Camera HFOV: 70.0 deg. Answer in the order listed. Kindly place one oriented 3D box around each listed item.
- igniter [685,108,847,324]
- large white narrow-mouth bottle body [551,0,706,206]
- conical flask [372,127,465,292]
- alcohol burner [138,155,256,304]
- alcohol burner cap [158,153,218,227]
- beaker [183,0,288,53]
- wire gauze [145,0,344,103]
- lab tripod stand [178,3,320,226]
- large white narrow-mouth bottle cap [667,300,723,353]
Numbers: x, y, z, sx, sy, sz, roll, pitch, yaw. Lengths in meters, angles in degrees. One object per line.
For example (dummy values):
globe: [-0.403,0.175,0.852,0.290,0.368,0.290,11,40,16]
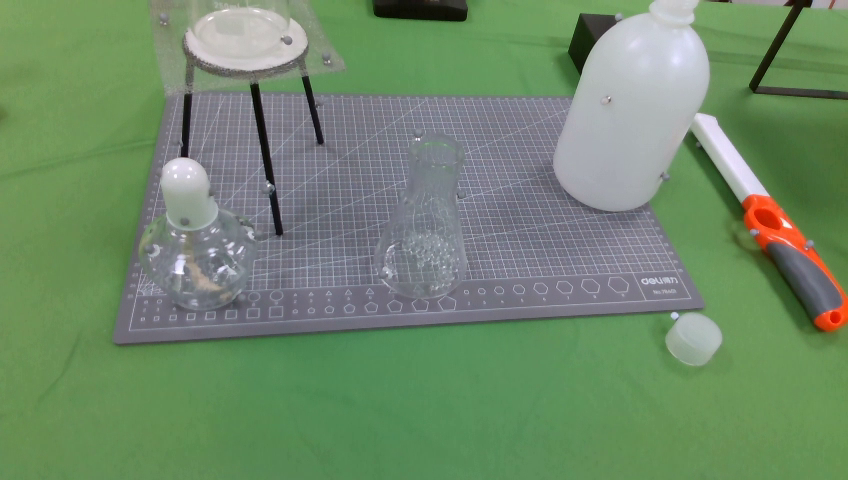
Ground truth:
igniter: [0.315,-0.036,0.574,0.057,0.025,0.273,6,47,-18]
large white narrow-mouth bottle body: [0.179,-0.128,0.518,0.102,0.196,0.101,4,48,-4]
conical flask: [0.001,-0.024,0.444,0.075,0.123,0.074,5,47,-5]
alcohol burner: [-0.156,-0.011,0.414,0.078,0.120,0.077,6,46,-6]
alcohol burner cap: [-0.152,-0.034,0.386,0.034,0.048,0.033,4,53,-6]
beaker: [-0.132,-0.186,0.406,0.084,0.101,0.073,-7,51,-15]
wire gauze: [-0.133,-0.151,0.442,0.122,0.011,0.123,-14,56,-18]
lab tripod stand: [-0.137,-0.105,0.489,0.149,0.132,0.147,6,48,-6]
large white narrow-mouth bottle cap: [0.209,0.067,0.469,0.038,0.024,0.037,4,48,-4]
